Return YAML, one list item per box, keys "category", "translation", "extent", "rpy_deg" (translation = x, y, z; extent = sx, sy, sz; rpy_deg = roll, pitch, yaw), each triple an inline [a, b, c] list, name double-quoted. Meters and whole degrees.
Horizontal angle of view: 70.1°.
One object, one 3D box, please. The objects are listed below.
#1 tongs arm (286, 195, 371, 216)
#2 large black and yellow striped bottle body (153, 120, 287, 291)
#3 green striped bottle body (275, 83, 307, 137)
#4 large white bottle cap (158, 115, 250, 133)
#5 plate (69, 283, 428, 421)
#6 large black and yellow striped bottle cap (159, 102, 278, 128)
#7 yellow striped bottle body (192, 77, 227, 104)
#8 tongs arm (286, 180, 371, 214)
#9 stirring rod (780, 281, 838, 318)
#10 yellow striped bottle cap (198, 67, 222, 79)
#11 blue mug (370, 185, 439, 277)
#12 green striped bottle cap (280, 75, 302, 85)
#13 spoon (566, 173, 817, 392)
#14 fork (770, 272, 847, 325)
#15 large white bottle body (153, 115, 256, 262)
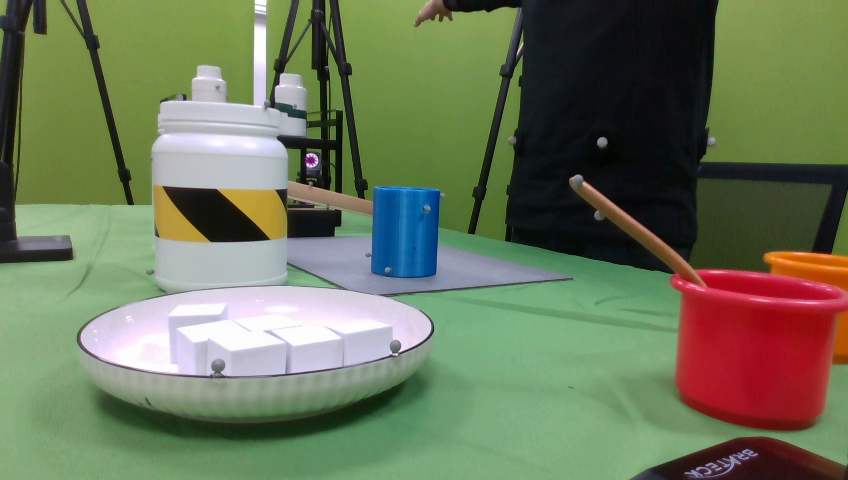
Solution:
- category: "tongs arm"
  translation: [-0.166, -0.074, 1.216]
  extent: [0.389, 0.027, 0.028]
  rpy_deg: [11, -6, -24]
- category: "large black and yellow striped bottle body"
  translation: [-0.208, -0.042, 0.626]
  extent: [0.131, 0.184, 0.130]
  rpy_deg: [2, 7, 0]
- category: "green striped bottle body"
  translation: [-0.269, -0.269, 1.221]
  extent: [0.063, 0.119, 0.063]
  rpy_deg: [2, 7, 0]
- category: "large white bottle cap"
  translation: [-0.291, -0.153, 0.803]
  extent: [0.115, 0.018, 0.115]
  rpy_deg: [1, 7, 0]
- category: "plate"
  translation: [-0.102, 0.066, 0.381]
  extent: [0.208, 0.039, 0.207]
  rpy_deg: [2, 7, 0]
- category: "large black and yellow striped bottle cap"
  translation: [-0.207, -0.125, 0.615]
  extent: [0.115, 0.019, 0.115]
  rpy_deg: [2, 6, 0]
- category: "yellow striped bottle body"
  translation: [-0.414, -0.268, 1.169]
  extent: [0.063, 0.120, 0.063]
  rpy_deg: [2, 7, 0]
- category: "tongs arm"
  translation: [-0.123, -0.066, 1.147]
  extent: [0.387, 0.026, 0.050]
  rpy_deg: [11, -3, -38]
- category: "stirring rod"
  translation: [0.344, 0.019, 0.461]
  extent: [0.014, 0.006, 0.176]
  rpy_deg: [-14, -26, -31]
- category: "yellow striped bottle cap"
  translation: [-0.412, -0.320, 1.163]
  extent: [0.044, 0.018, 0.044]
  rpy_deg: [1, 5, 0]
- category: "blue mug"
  translation: [-0.025, -0.016, 0.761]
  extent: [0.082, 0.106, 0.116]
  rpy_deg: [2, 7, -2]
- category: "green striped bottle cap"
  translation: [-0.267, -0.320, 1.216]
  extent: [0.044, 0.020, 0.044]
  rpy_deg: [2, 8, 0]
- category: "spoon"
  translation: [0.161, 0.024, 0.370]
  extent: [0.193, 0.021, 0.042]
  rpy_deg: [47, 18, 3]
- category: "fork"
  translation: [0.331, 0.018, 0.443]
  extent: [0.028, 0.018, 0.207]
  rpy_deg: [-1, -36, -15]
- category: "large white bottle body"
  translation: [-0.293, -0.070, 0.813]
  extent: [0.131, 0.184, 0.130]
  rpy_deg: [2, 7, 0]
